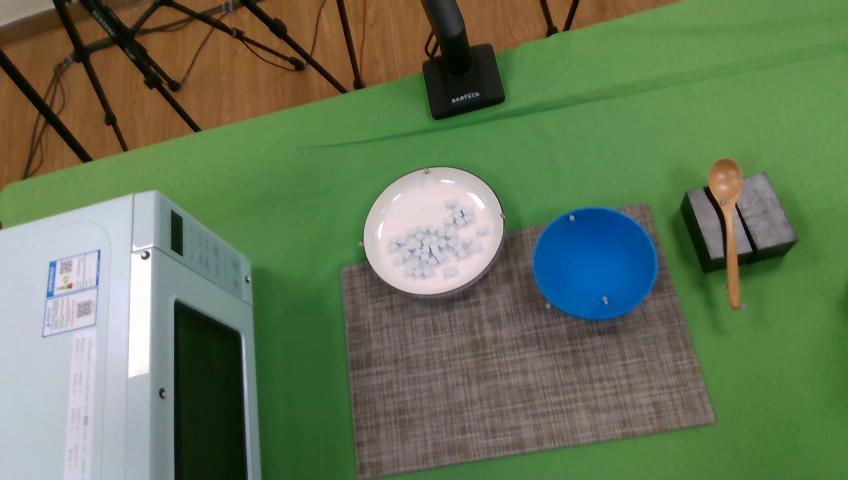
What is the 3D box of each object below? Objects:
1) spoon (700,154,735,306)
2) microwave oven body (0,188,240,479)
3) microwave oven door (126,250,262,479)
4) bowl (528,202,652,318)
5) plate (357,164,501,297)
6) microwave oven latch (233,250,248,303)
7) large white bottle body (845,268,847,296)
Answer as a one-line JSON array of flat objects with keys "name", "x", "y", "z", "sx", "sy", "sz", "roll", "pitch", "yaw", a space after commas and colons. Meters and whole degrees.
[{"name": "spoon", "x": 0.373, "y": -0.014, "z": 0.756, "sx": 0.041, "sy": 0.022, "sz": 0.192, "roll": 1, "pitch": 74, "yaw": 8}, {"name": "microwave oven body", "x": -0.411, "y": 0.214, "z": 0.753, "sx": 0.326, "sy": 0.262, "sz": 0.438, "roll": -14, "pitch": 67, "yaw": 6}, {"name": "microwave oven door", "x": -0.264, "y": 0.214, "z": 0.715, "sx": 0.039, "sy": 0.246, "sz": 0.352, "roll": -15, "pitch": 66, "yaw": 7}, {"name": "bowl", "x": 0.213, "y": 0.036, "z": 0.786, "sx": 0.151, "sy": 0.077, "sz": 0.150, "roll": -5, "pitch": 68, "yaw": 11}, {"name": "plate", "x": 0.009, "y": -0.012, "z": 0.874, "sx": 0.209, "sy": 0.038, "sz": 0.207, "roll": -5, "pitch": 64, "yaw": 11}, {"name": "microwave oven latch", "x": -0.279, "y": 0.056, "z": 0.894, "sx": 0.030, "sy": 0.030, "sz": 0.078, "roll": -14, "pitch": 67, "yaw": 6}, {"name": "large white bottle body", "x": 0.564, "y": 0.028, "z": 0.656, "sx": 0.130, "sy": 0.186, "sz": 0.129, "roll": -4, "pitch": 67, "yaw": 11}]
